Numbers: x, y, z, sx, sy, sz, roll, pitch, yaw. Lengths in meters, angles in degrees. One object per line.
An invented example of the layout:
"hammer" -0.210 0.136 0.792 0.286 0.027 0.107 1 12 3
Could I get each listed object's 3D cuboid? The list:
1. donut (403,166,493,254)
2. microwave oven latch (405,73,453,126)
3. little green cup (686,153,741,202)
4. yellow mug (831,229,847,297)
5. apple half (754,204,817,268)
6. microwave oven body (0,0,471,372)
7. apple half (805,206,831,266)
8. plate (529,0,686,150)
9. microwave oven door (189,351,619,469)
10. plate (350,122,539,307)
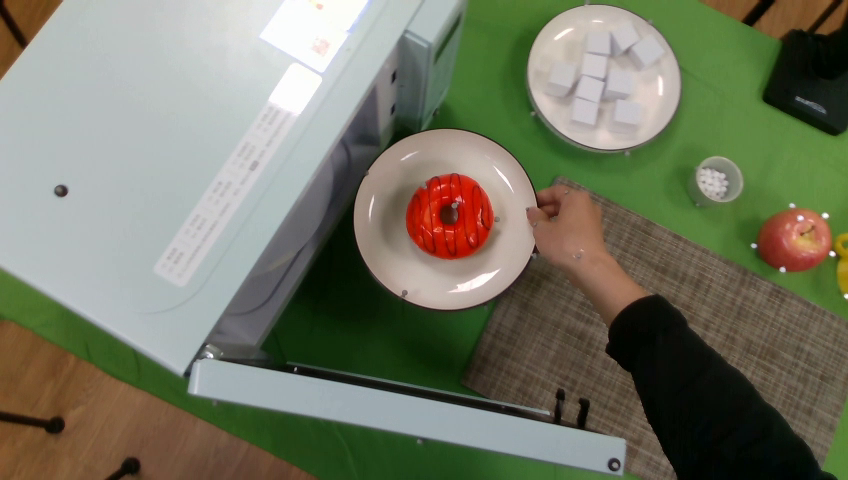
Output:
"donut" 0.026 -0.032 0.669 0.099 0.048 0.099 0 88 5
"microwave oven latch" 0.006 -0.183 0.766 0.030 0.029 0.079 33 80 2
"little green cup" 0.377 -0.079 0.794 0.061 0.039 0.061 1 79 -4
"yellow mug" 0.584 0.029 0.776 0.130 0.064 0.100 38 79 4
"apple half" 0.452 -0.005 0.769 0.053 0.075 0.080 1 83 1
"microwave oven body" -0.205 -0.125 0.642 0.326 0.261 0.440 30 80 1
"apple half" 0.491 -0.005 0.771 0.033 0.081 0.081 0 79 1
"plate" 0.240 -0.216 0.808 0.208 0.039 0.207 1 80 -4
"microwave oven door" -0.020 0.160 0.600 0.356 0.244 0.039 11 78 -2
"plate" 0.022 -0.028 0.680 0.209 0.038 0.208 0 82 1
